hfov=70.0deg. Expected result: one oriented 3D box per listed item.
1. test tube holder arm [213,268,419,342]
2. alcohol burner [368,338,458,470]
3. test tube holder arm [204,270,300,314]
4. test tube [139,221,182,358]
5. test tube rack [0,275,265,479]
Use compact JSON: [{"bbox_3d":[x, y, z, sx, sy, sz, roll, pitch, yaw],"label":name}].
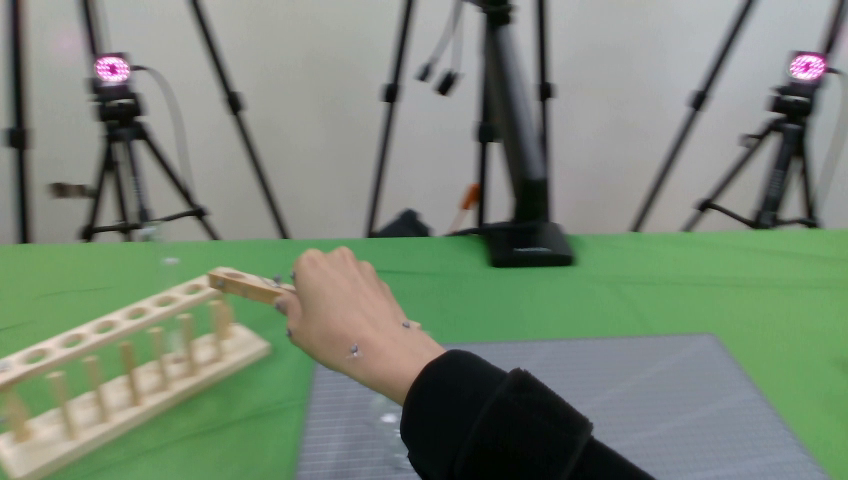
[{"bbox_3d":[-0.085,0.046,0.446,0.177,0.015,0.013,12,26,20],"label":"test tube holder arm"},{"bbox_3d":[-0.009,0.134,0.513,0.078,0.120,0.077,1,25,0],"label":"alcohol burner"},{"bbox_3d":[-0.129,0.039,0.457,0.087,0.015,0.010,12,26,20],"label":"test tube holder arm"},{"bbox_3d":[-0.258,0.052,0.596,0.017,0.151,0.017,0,25,0],"label":"test tube"},{"bbox_3d":[-0.277,0.118,0.577,0.066,0.086,0.242,22,34,36],"label":"test tube rack"}]
